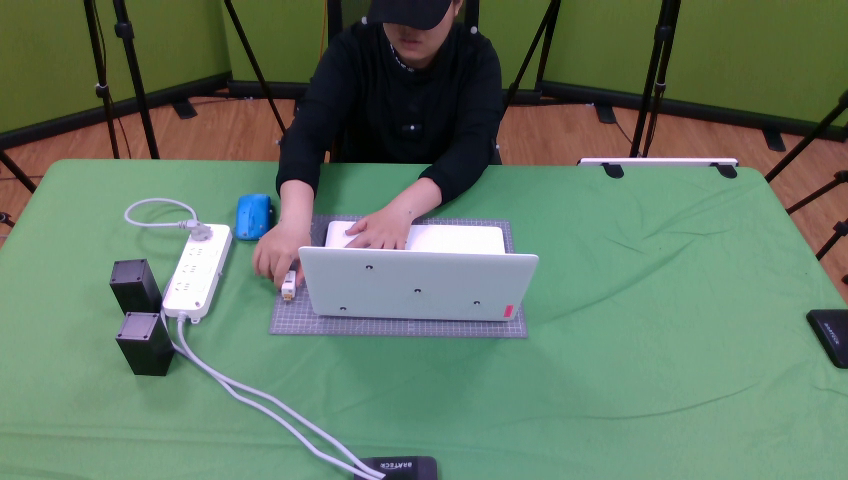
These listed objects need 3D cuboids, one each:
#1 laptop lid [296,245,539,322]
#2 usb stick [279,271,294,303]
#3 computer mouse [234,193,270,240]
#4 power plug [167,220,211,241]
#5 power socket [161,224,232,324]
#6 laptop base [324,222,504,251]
[{"bbox_3d":[-0.013,0.076,0.962,0.357,0.243,0.013,3,58,-4],"label":"laptop lid"},{"bbox_3d":[-0.246,0.085,1.086,0.021,0.027,0.059,-1,46,-6],"label":"usb stick"},{"bbox_3d":[-0.342,-0.050,1.207,0.063,0.041,0.116,-2,51,-7],"label":"computer mouse"},{"bbox_3d":[-0.439,-0.016,1.143,0.072,0.053,0.035,9,43,6],"label":"power plug"},{"bbox_3d":[-0.411,0.052,1.107,0.072,0.033,0.225,4,45,-1],"label":"power socket"},{"bbox_3d":[-0.018,0.055,1.144,0.354,0.023,0.234,2,42,-2],"label":"laptop base"}]
